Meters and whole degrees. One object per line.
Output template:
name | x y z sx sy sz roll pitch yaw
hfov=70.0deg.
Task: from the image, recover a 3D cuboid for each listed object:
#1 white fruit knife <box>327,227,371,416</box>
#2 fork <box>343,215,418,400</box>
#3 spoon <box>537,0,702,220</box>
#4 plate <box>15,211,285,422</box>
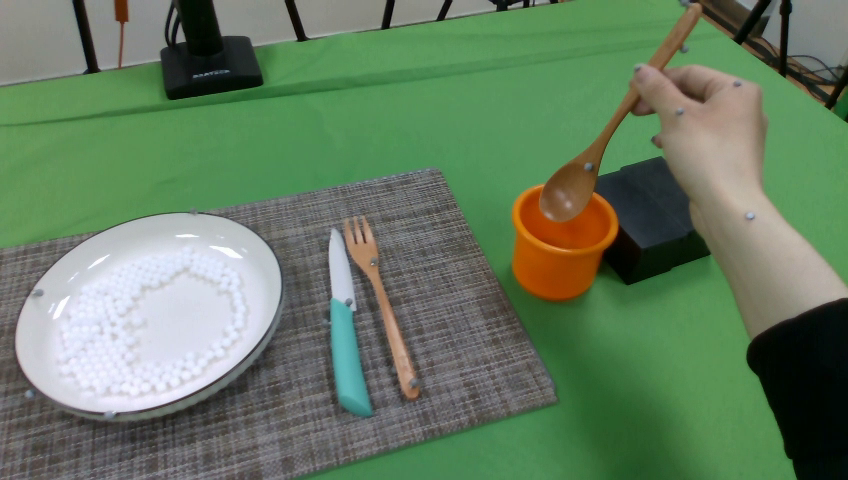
white fruit knife | -0.072 0.060 0.529 0.027 0.016 0.205 17 37 -29
fork | -0.039 0.050 0.534 0.028 0.019 0.205 -4 44 -22
spoon | 0.150 -0.095 0.472 0.041 0.194 0.022 46 34 24
plate | -0.219 0.060 0.507 0.209 0.038 0.207 1 46 0
